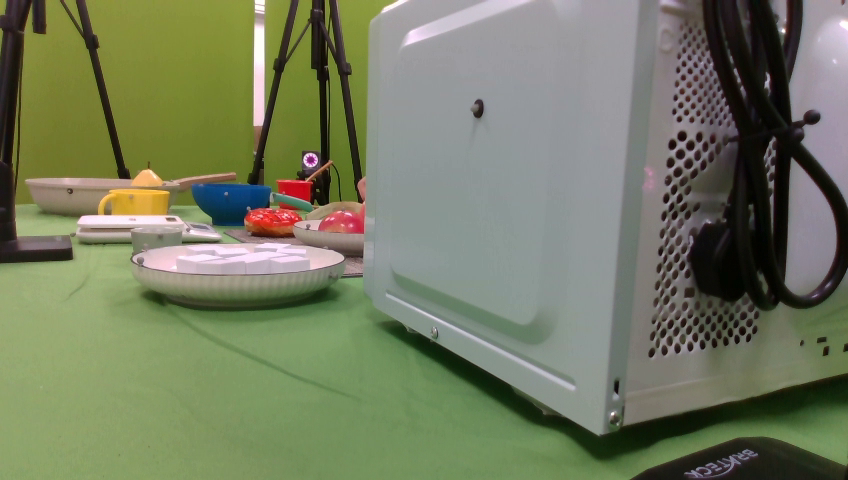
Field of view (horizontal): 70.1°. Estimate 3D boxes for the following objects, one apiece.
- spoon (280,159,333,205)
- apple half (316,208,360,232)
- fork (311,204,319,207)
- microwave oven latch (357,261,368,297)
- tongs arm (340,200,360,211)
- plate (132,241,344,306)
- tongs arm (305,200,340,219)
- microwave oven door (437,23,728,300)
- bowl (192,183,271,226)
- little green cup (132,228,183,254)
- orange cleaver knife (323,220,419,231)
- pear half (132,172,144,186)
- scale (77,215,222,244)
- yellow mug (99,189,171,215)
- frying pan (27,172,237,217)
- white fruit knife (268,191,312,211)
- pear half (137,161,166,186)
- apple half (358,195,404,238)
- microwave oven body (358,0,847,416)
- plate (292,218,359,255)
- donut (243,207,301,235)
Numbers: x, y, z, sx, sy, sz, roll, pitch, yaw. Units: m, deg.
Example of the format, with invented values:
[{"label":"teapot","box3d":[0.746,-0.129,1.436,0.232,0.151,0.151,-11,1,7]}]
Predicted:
[{"label":"spoon","box3d":[-0.316,-0.159,1.640,0.194,0.022,0.041,-49,32,-20]},{"label":"apple half","box3d":[-0.122,-0.020,0.901,0.080,0.053,0.075,5,11,22]},{"label":"fork","box3d":[-0.356,-0.105,1.526,0.208,0.018,0.028,16,-5,-41]},{"label":"microwave oven latch","box3d":[-0.019,0.033,0.531,0.079,0.029,0.030,-1,7,-27]},{"label":"tongs arm","box3d":[-0.149,-0.070,1.429,0.051,0.026,0.383,-5,9,-15]},{"label":"plate","box3d":[-0.187,0.033,0.625,0.208,0.039,0.207,2,8,0]},{"label":"tongs arm","box3d":[-0.236,-0.066,1.414,0.028,0.028,0.387,-6,8,1]},{"label":"microwave oven door","box3d":[0.180,-0.072,0.621,0.358,0.243,0.039,-2,8,-29]},{"label":"bowl","box3d":[-0.382,-0.071,1.202,0.151,0.077,0.151,3,7,0]},{"label":"little green cup","box3d":[-0.342,0.006,0.779,0.061,0.038,0.061,2,8,0]},{"label":"orange cleaver knife","box3d":[-0.096,-0.027,1.152,0.077,0.012,0.212,2,7,41]},{"label":"pear half","box3d":[-0.638,-0.113,1.361,0.031,0.088,0.070,5,11,4]},{"label":"scale","box3d":[-0.434,-0.019,0.963,0.202,0.031,0.148,-1,9,-27]},{"label":"yellow mug","box3d":[-0.518,-0.055,1.080,0.099,0.064,0.131,6,9,26]},{"label":"frying pan","box3d":[-0.624,-0.118,1.387,0.305,0.102,0.490,8,17,32]},{"label":"white fruit knife","box3d":[-0.364,-0.105,1.464,0.208,0.027,0.016,15,0,-34]},{"label":"pear half","box3d":[-0.602,-0.120,1.354,0.056,0.110,0.076,4,11,6]},{"label":"apple half","box3d":[-0.066,-0.046,0.971,0.082,0.081,0.032,-2,-31,-27]},{"label":"microwave oven body","box3d":[0.211,-0.047,0.474,0.444,0.260,0.324,-1,7,-28]},{"label":"plate","box3d":[-0.097,-0.007,0.928,0.209,0.038,0.209,2,8,0]},{"label":"donut","box3d":[-0.261,-0.032,1.043,0.099,0.048,0.099,4,9,0]}]
